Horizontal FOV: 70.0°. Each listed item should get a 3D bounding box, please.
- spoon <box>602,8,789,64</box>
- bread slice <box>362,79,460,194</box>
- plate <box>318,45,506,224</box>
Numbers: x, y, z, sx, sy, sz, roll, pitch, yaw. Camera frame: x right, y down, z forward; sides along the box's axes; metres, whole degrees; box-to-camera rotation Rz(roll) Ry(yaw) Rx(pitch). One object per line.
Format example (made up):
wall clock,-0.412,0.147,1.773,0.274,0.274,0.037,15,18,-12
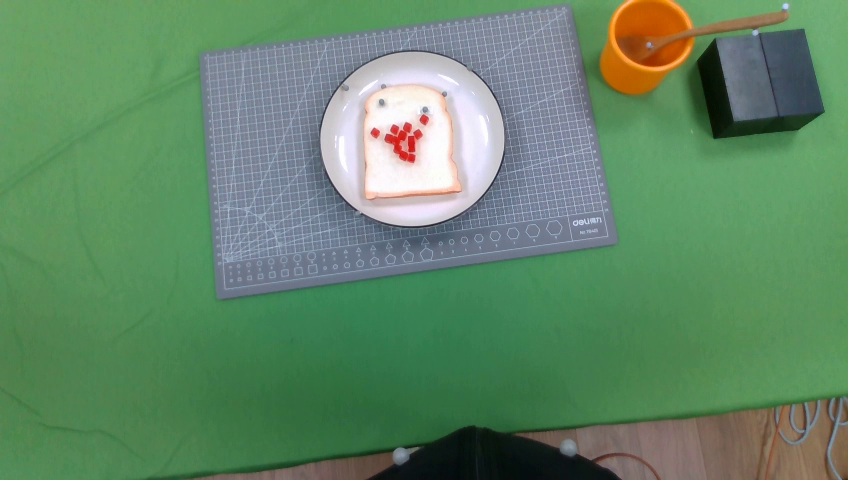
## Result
spoon,0.280,-0.220,0.646,0.022,0.192,0.041,29,73,-38
bread slice,-0.021,-0.117,0.684,0.107,0.018,0.133,-7,79,-2
plate,-0.013,-0.116,0.683,0.209,0.038,0.208,0,79,1
